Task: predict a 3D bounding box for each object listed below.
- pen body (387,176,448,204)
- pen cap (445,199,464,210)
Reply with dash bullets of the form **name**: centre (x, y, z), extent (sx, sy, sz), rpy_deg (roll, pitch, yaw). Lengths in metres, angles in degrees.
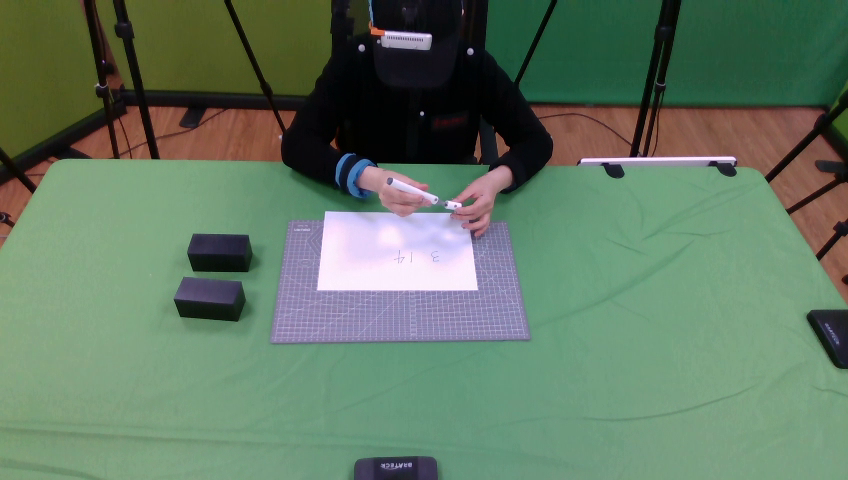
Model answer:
- **pen body**: centre (-0.009, -0.091, 1.137), extent (0.145, 0.017, 0.017), rpy_deg (20, 36, -35)
- **pen cap**: centre (0.059, -0.069, 1.182), extent (0.038, 0.017, 0.017), rpy_deg (9, 40, -31)
